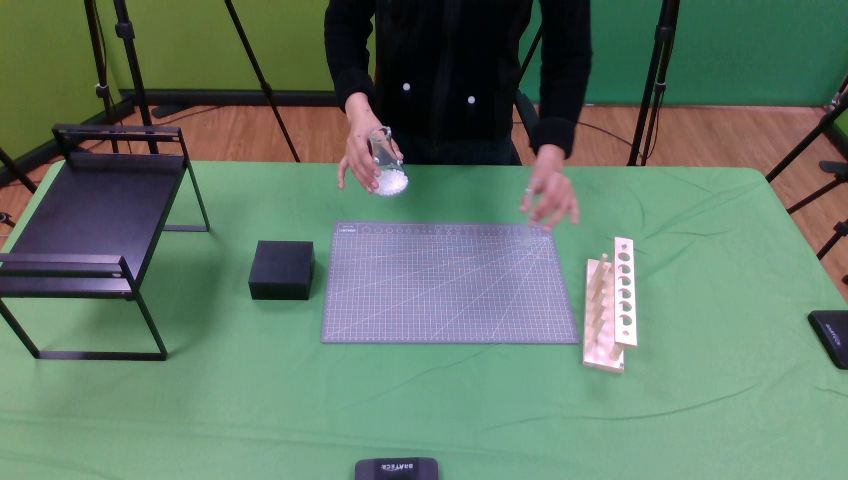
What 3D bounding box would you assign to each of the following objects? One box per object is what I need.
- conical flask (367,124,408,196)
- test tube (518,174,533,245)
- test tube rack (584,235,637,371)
[{"bbox_3d":[-0.071,-0.142,1.055,0.075,0.122,0.075,-4,47,5],"label":"conical flask"},{"bbox_3d":[0.172,-0.048,1.031,0.017,0.151,0.017,-2,42,2],"label":"test tube"},{"bbox_3d":[0.329,0.103,1.073,0.067,0.085,0.241,11,47,7],"label":"test tube rack"}]
